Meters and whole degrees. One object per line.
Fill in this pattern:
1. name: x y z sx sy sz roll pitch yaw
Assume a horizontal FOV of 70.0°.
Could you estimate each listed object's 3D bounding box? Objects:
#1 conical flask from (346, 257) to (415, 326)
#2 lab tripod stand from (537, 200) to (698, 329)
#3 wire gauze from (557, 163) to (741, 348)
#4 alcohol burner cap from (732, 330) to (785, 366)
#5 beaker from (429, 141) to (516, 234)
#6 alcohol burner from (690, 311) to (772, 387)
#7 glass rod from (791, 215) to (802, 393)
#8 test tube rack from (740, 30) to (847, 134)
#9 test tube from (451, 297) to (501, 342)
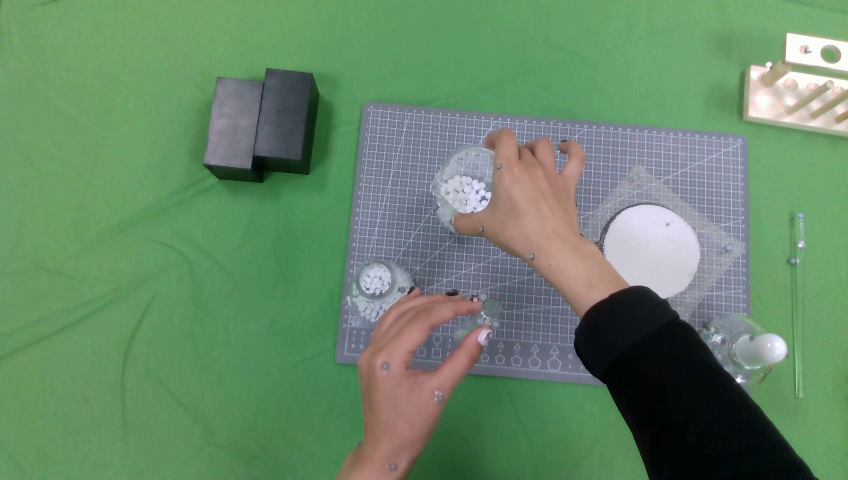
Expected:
1. conical flask: -0.046 0.046 0.605 0.075 0.122 0.075 0 79 -1
2. lab tripod stand: 0.199 0.021 0.611 0.148 0.132 0.148 0 80 0
3. wire gauze: 0.202 0.011 0.545 0.125 0.011 0.121 42 82 6
4. alcohol burner cap: 0.320 0.100 0.573 0.034 0.048 0.033 1 73 -5
5. beaker: 0.044 -0.048 0.619 0.084 0.100 0.073 -10 80 -4
6. alcohol burner: 0.318 0.109 0.609 0.078 0.119 0.077 0 78 1
7. glass rod: 0.415 0.069 0.675 0.008 0.008 0.199 7 82 -1
8. test tube rack: 0.499 -0.167 0.682 0.242 0.085 0.066 9 79 0
9. test tube: 0.040 0.068 0.495 0.017 0.151 0.017 2 74 -5
